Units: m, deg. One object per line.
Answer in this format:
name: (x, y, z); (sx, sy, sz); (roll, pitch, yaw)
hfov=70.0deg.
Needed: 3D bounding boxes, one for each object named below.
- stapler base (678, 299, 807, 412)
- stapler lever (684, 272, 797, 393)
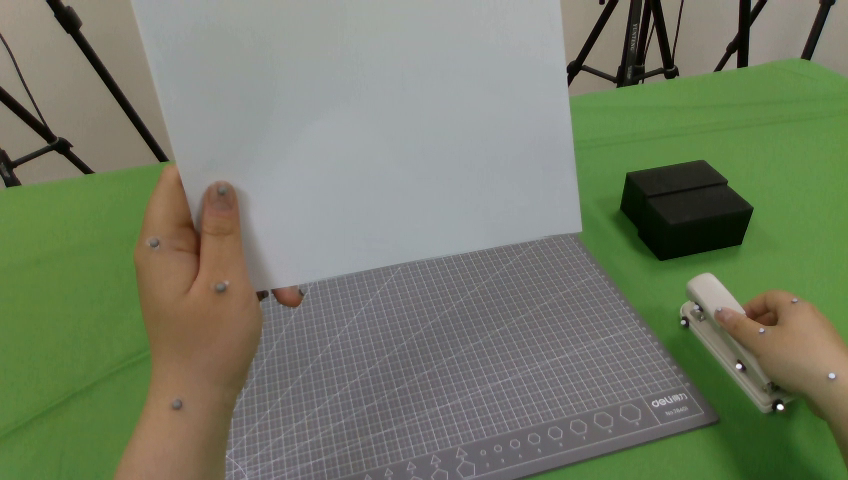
stapler base: (0.278, 0.090, 0.543); (0.041, 0.025, 0.129); (-30, 42, 4)
stapler lever: (0.269, 0.075, 0.524); (0.027, 0.040, 0.116); (-30, 42, 4)
